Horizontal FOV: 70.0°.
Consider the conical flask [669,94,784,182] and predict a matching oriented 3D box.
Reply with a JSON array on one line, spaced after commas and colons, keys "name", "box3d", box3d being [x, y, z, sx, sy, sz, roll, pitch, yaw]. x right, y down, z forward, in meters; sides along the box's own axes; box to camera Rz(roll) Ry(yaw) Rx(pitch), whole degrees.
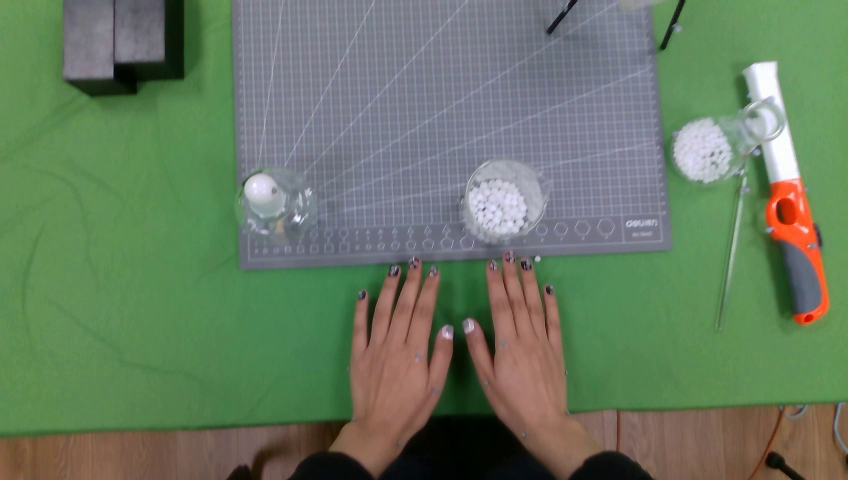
[{"name": "conical flask", "box3d": [0.296, -0.103, 0.588, 0.075, 0.122, 0.075, 0, 85, 0]}]

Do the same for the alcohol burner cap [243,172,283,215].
[{"name": "alcohol burner cap", "box3d": [-0.144, -0.044, 0.539, 0.034, 0.048, 0.033, 2, 77, -7]}]

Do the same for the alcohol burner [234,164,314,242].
[{"name": "alcohol burner", "box3d": [-0.145, -0.038, 0.575, 0.078, 0.119, 0.077, 0, 83, -2]}]

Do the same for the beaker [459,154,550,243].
[{"name": "beaker", "box3d": [0.074, -0.037, 0.587, 0.084, 0.100, 0.074, -22, 86, -3]}]

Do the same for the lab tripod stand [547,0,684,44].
[{"name": "lab tripod stand", "box3d": [0.201, -0.261, 0.592, 0.148, 0.131, 0.148, 0, 86, -2]}]

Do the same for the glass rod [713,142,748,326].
[{"name": "glass rod", "box3d": [0.322, -0.008, 0.638, 0.008, 0.008, 0.199, 12, 85, 0]}]

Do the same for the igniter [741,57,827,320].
[{"name": "igniter", "box3d": [0.376, -0.055, 0.633, 0.057, 0.025, 0.276, -9, 86, -12]}]

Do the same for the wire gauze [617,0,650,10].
[{"name": "wire gauze", "box3d": [0.205, -0.271, 0.525, 0.125, 0.011, 0.121, -19, 87, -3]}]
